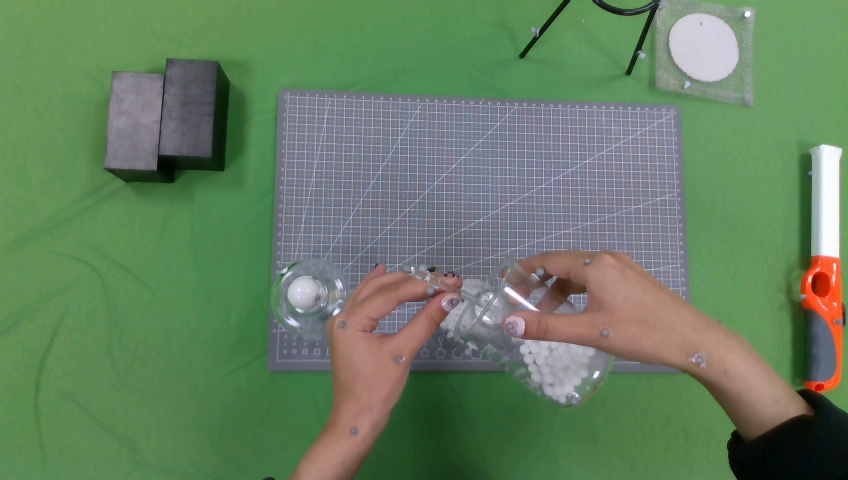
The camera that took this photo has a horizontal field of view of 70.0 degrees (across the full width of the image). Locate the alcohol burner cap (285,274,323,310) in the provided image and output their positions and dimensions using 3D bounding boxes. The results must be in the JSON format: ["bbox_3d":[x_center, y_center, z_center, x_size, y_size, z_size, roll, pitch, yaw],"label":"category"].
[{"bbox_3d":[-0.108,0.046,0.538,0.034,0.048,0.034,1,86,-7],"label":"alcohol burner cap"}]

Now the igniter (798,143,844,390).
[{"bbox_3d":[0.442,0.028,0.674,0.057,0.025,0.275,8,82,-15],"label":"igniter"}]

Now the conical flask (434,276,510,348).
[{"bbox_3d":[0.052,0.067,0.583,0.075,0.122,0.075,1,81,-4],"label":"conical flask"}]

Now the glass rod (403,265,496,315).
[{"bbox_3d":[0.026,0.042,0.468,0.008,0.201,0.008,-6,74,21],"label":"glass rod"}]

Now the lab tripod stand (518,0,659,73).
[{"bbox_3d":[0.180,-0.244,0.634,0.148,0.131,0.148,1,84,-4],"label":"lab tripod stand"}]

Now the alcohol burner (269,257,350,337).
[{"bbox_3d":[-0.111,0.052,0.574,0.078,0.119,0.077,0,81,-3],"label":"alcohol burner"}]

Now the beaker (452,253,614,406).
[{"bbox_3d":[0.081,0.069,0.450,0.100,0.084,0.074,36,83,-4],"label":"beaker"}]

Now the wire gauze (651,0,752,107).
[{"bbox_3d":[0.325,-0.224,0.707,0.125,0.011,0.121,7,82,-6],"label":"wire gauze"}]
